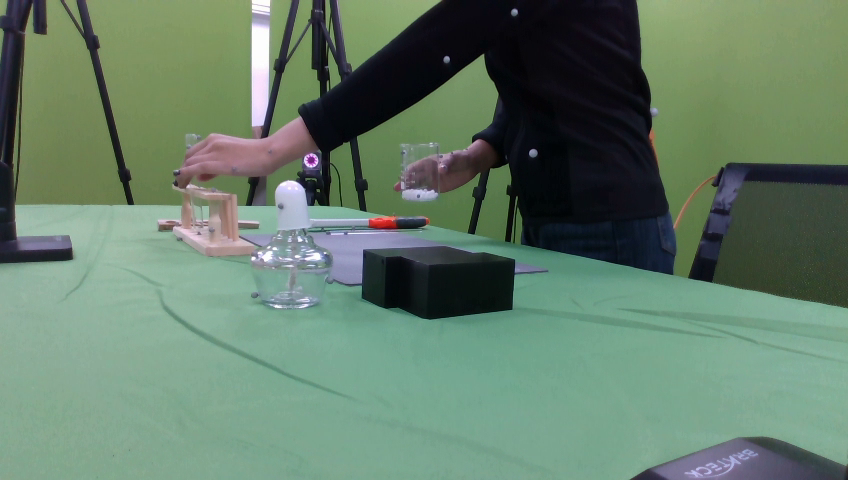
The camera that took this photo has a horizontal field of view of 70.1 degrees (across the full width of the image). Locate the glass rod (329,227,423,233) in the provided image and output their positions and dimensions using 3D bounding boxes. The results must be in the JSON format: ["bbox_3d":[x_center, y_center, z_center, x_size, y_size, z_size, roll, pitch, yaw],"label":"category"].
[{"bbox_3d":[-0.087,-0.019,1.148,0.201,0.008,0.008,-3,8,-32],"label":"glass rod"}]

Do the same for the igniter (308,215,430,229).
[{"bbox_3d":[-0.108,-0.036,1.228,0.278,0.025,0.057,-3,-1,-36],"label":"igniter"}]

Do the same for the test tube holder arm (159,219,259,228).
[{"bbox_3d":[-0.390,-0.030,1.107,0.179,0.015,0.013,-4,45,-39],"label":"test tube holder arm"}]

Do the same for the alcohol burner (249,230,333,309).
[{"bbox_3d":[-0.125,0.004,0.568,0.078,0.119,0.078,2,9,0],"label":"alcohol burner"}]

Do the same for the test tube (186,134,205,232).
[{"bbox_3d":[-0.350,-0.087,0.928,0.017,0.150,0.017,-3,5,1],"label":"test tube"}]

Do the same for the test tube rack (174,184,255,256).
[{"bbox_3d":[-0.327,-0.036,0.928,0.067,0.085,0.241,-2,9,-32],"label":"test tube rack"}]

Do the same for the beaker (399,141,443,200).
[{"bbox_3d":[-0.008,-0.124,1.071,0.074,0.100,0.083,-8,13,-34],"label":"beaker"}]

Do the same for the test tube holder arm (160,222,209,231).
[{"bbox_3d":[-0.423,-0.025,1.076,0.088,0.015,0.010,-3,45,-38],"label":"test tube holder arm"}]

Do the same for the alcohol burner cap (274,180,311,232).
[{"bbox_3d":[-0.125,-0.032,0.563,0.034,0.048,0.034,-5,6,1],"label":"alcohol burner cap"}]
